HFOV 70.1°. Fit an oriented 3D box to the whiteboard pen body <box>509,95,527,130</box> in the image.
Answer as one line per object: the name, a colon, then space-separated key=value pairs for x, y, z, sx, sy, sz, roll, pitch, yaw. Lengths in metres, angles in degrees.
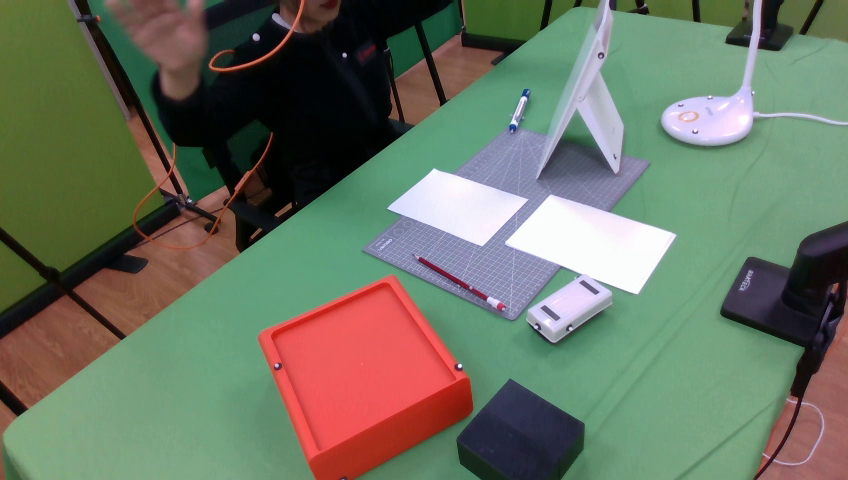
whiteboard pen body: x=0.199 y=-0.273 z=1.261 sx=0.017 sy=0.017 sz=0.140 roll=7 pitch=44 yaw=19

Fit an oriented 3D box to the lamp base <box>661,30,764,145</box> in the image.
lamp base: x=0.535 y=-0.287 z=1.096 sx=0.179 sy=0.181 sz=0.159 roll=-10 pitch=40 yaw=-4

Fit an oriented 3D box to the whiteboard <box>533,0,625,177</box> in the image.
whiteboard: x=0.321 y=-0.258 z=1.049 sx=0.144 sy=0.306 sz=0.217 roll=20 pitch=45 yaw=4

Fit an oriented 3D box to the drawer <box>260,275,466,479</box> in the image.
drawer: x=-0.080 y=0.163 z=0.760 sx=0.195 sy=0.073 sz=0.210 roll=-22 pitch=42 yaw=-16

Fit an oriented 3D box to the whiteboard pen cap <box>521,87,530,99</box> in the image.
whiteboard pen cap: x=0.218 y=-0.313 z=1.301 sx=0.018 sy=0.018 sz=0.033 roll=7 pitch=47 yaw=18

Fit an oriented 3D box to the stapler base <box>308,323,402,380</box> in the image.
stapler base: x=-0.094 y=0.142 z=0.812 sx=0.131 sy=0.024 sz=0.041 roll=-24 pitch=29 yaw=-17

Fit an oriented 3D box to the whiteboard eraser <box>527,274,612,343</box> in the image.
whiteboard eraser: x=0.198 y=0.094 z=0.819 sx=0.113 sy=0.042 sz=0.055 roll=-29 pitch=43 yaw=-22

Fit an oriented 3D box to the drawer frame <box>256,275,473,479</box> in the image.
drawer frame: x=-0.078 y=0.164 z=0.756 sx=0.202 sy=0.083 sz=0.211 roll=-23 pitch=43 yaw=-17

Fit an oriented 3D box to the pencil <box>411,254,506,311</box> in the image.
pencil: x=0.047 y=0.060 z=0.906 sx=0.012 sy=0.012 sz=0.192 roll=-37 pitch=46 yaw=-29

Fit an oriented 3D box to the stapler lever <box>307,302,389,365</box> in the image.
stapler lever: x=-0.101 y=0.121 z=0.799 sx=0.118 sy=0.040 sz=0.026 roll=-25 pitch=30 yaw=-16
